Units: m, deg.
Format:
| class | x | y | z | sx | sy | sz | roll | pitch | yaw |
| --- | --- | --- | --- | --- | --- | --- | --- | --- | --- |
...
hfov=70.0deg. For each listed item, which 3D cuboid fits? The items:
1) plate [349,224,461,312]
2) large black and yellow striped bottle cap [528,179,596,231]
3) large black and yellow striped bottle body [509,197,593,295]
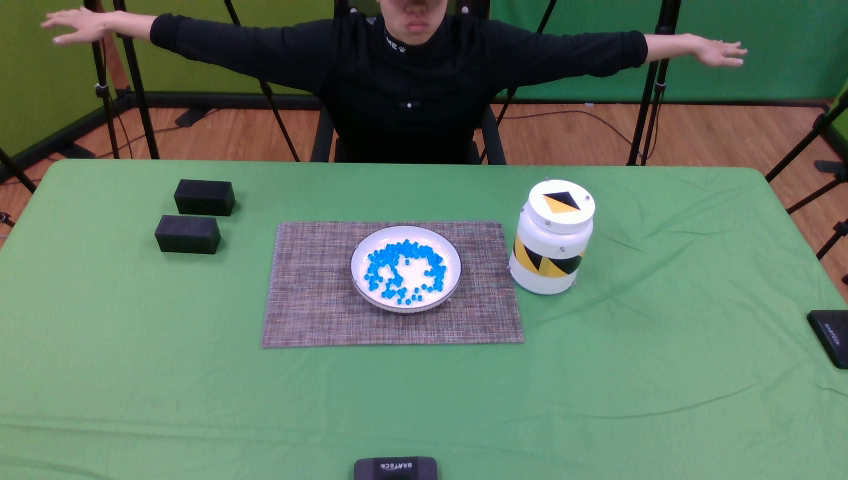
| class | x | y | z | sx | sy | sz | roll | pitch | yaw |
| --- | --- | --- | --- | --- | --- | --- | --- | --- | --- |
| plate | -0.035 | 0.054 | 1.126 | 0.208 | 0.039 | 0.206 | 2 | 46 | -2 |
| large black and yellow striped bottle cap | 0.237 | -0.062 | 1.043 | 0.115 | 0.019 | 0.114 | 1 | 47 | -1 |
| large black and yellow striped bottle body | 0.232 | -0.004 | 1.104 | 0.131 | 0.185 | 0.130 | 2 | 46 | -2 |
